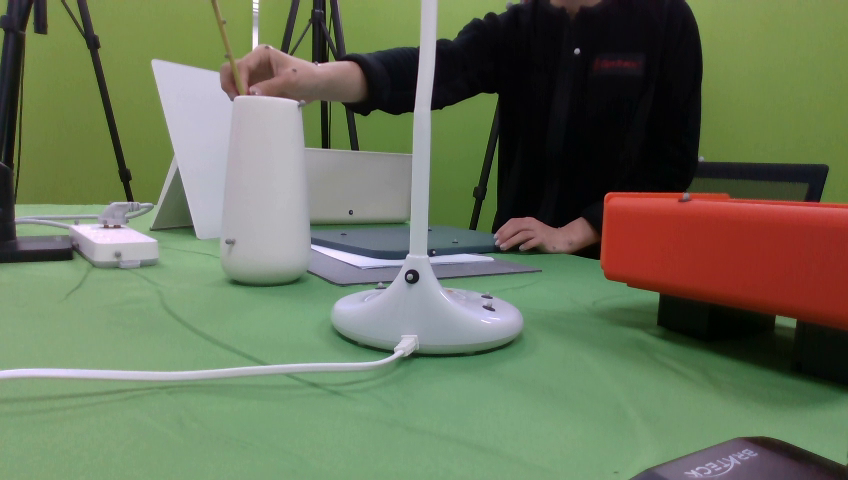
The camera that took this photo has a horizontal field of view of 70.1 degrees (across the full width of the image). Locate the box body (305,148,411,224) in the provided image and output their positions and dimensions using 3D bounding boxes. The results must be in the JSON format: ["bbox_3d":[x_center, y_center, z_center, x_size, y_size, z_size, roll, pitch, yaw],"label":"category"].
[{"bbox_3d":[-0.230,-0.126,1.371,0.366,0.160,0.253,-2,8,-33],"label":"box body"}]

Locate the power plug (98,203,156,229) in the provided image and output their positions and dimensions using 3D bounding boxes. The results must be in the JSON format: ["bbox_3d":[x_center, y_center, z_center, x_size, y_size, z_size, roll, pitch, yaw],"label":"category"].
[{"bbox_3d":[-0.416,-0.026,0.848,0.073,0.052,0.035,1,7,-28],"label":"power plug"}]

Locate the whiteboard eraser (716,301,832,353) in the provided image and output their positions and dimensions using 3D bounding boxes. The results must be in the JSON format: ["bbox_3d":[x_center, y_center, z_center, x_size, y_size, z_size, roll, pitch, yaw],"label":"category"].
[{"bbox_3d":[0.256,0.042,0.472,0.112,0.042,0.056,43,19,30],"label":"whiteboard eraser"}]

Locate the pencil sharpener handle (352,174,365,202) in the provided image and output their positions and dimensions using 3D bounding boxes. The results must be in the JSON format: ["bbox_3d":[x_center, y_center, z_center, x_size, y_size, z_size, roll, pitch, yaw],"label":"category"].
[{"bbox_3d":[-0.156,-0.124,1.448,0.031,0.068,0.036,1,18,-10],"label":"pencil sharpener handle"}]

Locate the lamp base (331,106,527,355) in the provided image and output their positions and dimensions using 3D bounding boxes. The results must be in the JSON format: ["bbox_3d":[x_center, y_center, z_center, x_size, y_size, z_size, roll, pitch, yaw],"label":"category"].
[{"bbox_3d":[0.006,-0.012,0.478,0.161,0.180,0.179,2,10,2],"label":"lamp base"}]

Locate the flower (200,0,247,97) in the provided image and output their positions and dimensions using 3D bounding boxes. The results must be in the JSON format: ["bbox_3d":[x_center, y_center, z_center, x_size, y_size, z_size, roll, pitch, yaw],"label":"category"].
[{"bbox_3d":[-0.188,-0.133,0.648,0.038,0.362,0.044,0,21,43],"label":"flower"}]

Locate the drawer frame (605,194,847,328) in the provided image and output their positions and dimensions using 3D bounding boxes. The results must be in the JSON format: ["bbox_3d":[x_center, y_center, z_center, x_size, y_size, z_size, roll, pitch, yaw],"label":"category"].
[{"bbox_3d":[0.298,0.007,0.497,0.203,0.082,0.212,-1,7,-34],"label":"drawer frame"}]

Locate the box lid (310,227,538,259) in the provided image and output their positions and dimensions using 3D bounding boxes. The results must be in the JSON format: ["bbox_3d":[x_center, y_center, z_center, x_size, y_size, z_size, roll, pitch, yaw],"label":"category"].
[{"bbox_3d":[-0.010,0.001,1.036,0.374,0.015,0.262,-3,9,-44],"label":"box lid"}]

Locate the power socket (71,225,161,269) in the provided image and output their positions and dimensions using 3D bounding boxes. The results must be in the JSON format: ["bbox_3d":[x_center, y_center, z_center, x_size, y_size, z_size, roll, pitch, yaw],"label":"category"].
[{"bbox_3d":[-0.408,0.004,0.793,0.072,0.032,0.225,-2,8,-38],"label":"power socket"}]

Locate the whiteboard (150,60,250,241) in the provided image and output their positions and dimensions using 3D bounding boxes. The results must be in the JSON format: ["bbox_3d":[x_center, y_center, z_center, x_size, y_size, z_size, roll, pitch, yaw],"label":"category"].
[{"bbox_3d":[-0.408,-0.139,1.093,0.143,0.305,0.218,-15,-1,26],"label":"whiteboard"}]

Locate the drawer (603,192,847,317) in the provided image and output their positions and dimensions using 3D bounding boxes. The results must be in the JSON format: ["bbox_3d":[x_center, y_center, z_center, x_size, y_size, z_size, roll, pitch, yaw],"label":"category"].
[{"bbox_3d":[0.293,0.002,0.500,0.195,0.073,0.210,-1,8,-34],"label":"drawer"}]

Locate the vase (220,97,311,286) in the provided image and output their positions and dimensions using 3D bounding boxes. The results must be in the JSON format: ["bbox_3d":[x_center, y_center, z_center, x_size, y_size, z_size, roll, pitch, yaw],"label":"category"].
[{"bbox_3d":[-0.172,-0.052,0.662,0.098,0.200,0.098,3,9,0],"label":"vase"}]

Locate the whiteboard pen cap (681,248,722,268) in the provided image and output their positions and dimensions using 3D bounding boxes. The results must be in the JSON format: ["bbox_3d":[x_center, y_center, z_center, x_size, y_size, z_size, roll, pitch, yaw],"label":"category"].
[{"bbox_3d":[0.250,0.017,0.544,0.033,0.018,0.018,2,7,25],"label":"whiteboard pen cap"}]

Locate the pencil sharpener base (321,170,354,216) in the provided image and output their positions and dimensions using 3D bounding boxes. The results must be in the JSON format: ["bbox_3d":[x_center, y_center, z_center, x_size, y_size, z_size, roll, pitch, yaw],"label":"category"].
[{"bbox_3d":[-0.206,-0.112,1.437,0.077,0.107,0.061,1,6,-11],"label":"pencil sharpener base"}]

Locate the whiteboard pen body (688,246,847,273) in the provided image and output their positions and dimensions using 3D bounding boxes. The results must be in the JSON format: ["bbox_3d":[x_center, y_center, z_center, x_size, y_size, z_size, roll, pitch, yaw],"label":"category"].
[{"bbox_3d":[0.303,0.016,0.519,0.140,0.017,0.017,4,8,25],"label":"whiteboard pen body"}]

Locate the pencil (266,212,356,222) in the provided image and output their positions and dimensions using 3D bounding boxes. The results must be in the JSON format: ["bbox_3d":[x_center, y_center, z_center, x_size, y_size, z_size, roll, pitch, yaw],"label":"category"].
[{"bbox_3d":[-0.244,-0.049,1.319,0.195,0.012,0.012,4,7,-12],"label":"pencil"}]
